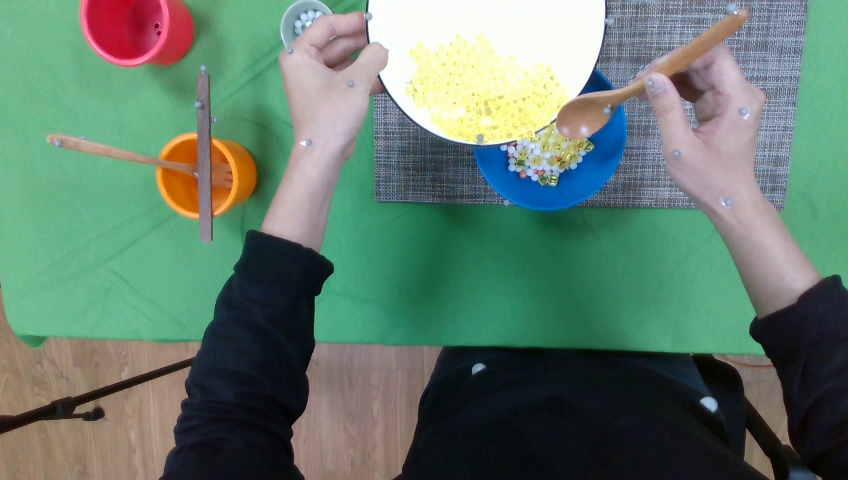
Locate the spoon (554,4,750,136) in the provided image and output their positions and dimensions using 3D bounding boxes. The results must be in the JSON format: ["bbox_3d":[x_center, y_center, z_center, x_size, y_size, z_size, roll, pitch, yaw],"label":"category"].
[{"bbox_3d":[0.167,-0.124,0.470,0.042,0.193,0.021,31,70,-16],"label":"spoon"}]

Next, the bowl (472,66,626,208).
[{"bbox_3d":[0.124,-0.113,0.628,0.151,0.076,0.152,1,103,5],"label":"bowl"}]

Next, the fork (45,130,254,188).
[{"bbox_3d":[-0.282,-0.086,0.644,0.209,0.018,0.028,10,108,-40],"label":"fork"}]

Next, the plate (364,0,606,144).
[{"bbox_3d":[0.051,-0.190,0.530,0.209,0.038,0.210,-2,111,-5],"label":"plate"}]

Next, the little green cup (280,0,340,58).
[{"bbox_3d":[-0.121,-0.227,0.656,0.061,0.038,0.062,1,101,7],"label":"little green cup"}]

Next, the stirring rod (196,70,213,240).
[{"bbox_3d":[-0.230,-0.087,0.635,0.014,0.006,0.176,4,101,4],"label":"stirring rod"}]
